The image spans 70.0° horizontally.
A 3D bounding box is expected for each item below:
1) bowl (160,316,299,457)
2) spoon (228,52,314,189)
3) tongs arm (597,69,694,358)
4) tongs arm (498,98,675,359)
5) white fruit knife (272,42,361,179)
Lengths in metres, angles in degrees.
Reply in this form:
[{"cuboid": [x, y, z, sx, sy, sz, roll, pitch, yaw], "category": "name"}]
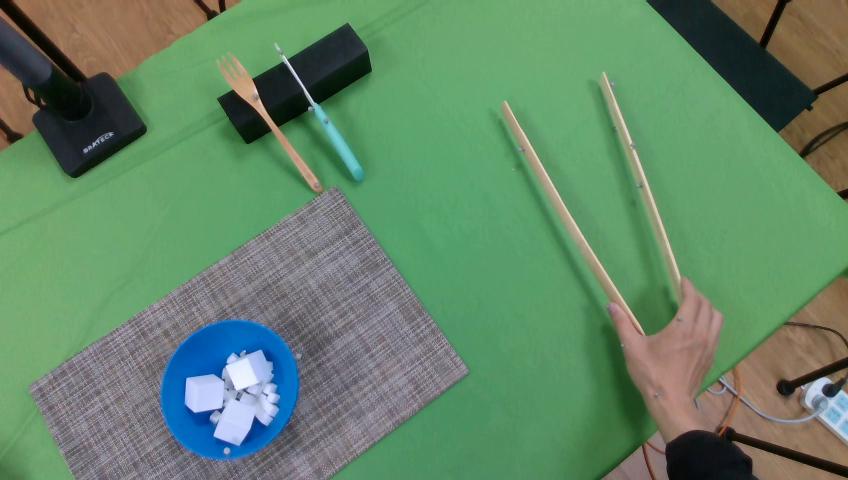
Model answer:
[{"cuboid": [-0.212, 0.168, 0.697, 0.151, 0.077, 0.150, 0, 74, 1], "category": "bowl"}, {"cuboid": [-0.195, -0.151, 0.781, 0.041, 0.021, 0.194, -25, 96, 17], "category": "spoon"}, {"cuboid": [0.263, -0.046, 0.762, 0.051, 0.026, 0.382, -13, 72, -6], "category": "tongs arm"}, {"cuboid": [0.189, -0.023, 0.755, 0.028, 0.028, 0.385, -24, 73, -13], "category": "tongs arm"}, {"cuboid": [-0.142, -0.171, 0.791, 0.016, 0.027, 0.207, -34, 91, -13], "category": "white fruit knife"}]
